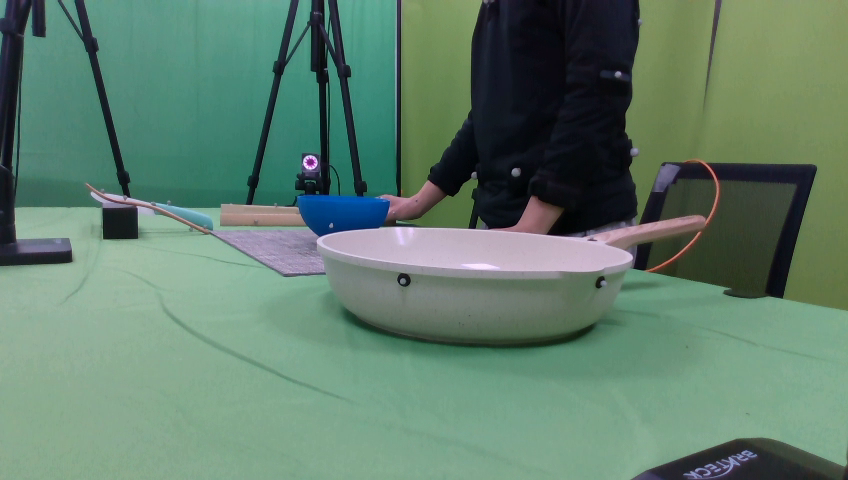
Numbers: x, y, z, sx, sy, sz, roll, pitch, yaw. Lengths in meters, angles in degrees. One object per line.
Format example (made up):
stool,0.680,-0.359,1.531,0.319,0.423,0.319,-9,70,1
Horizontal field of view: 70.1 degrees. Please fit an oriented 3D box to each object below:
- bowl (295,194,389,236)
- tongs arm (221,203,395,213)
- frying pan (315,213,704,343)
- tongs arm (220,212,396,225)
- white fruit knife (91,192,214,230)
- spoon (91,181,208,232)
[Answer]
bowl,-0.132,-0.032,0.980,0.151,0.077,0.151,2,7,0
tongs arm,-0.258,-0.061,1.368,0.386,0.026,0.050,1,8,-14
frying pan,0.133,0.014,0.629,0.490,0.102,0.305,-11,14,-29
tongs arm,-0.234,-0.046,1.294,0.389,0.028,0.028,-1,6,-27
white fruit knife,-0.477,-0.055,1.077,0.208,0.027,0.016,15,-5,-30
spoon,-0.461,-0.053,1.023,0.195,0.021,0.041,21,22,-24
